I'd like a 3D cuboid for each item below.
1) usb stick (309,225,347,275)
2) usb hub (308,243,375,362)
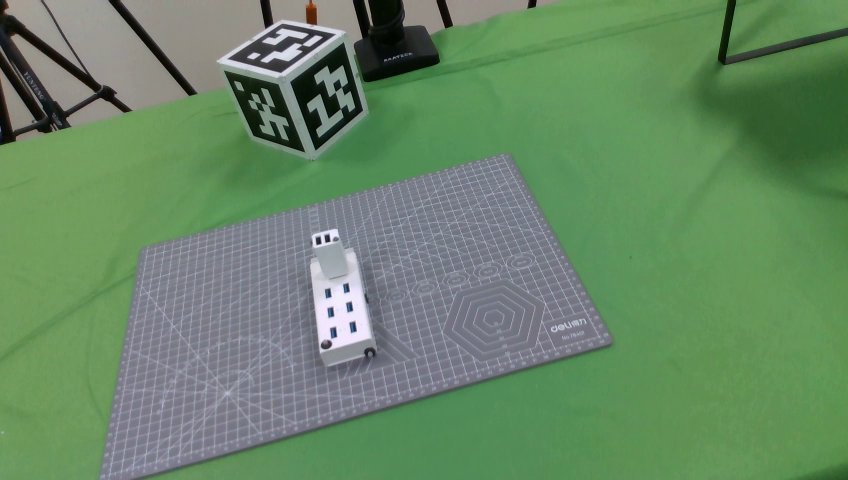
[{"bbox_3d":[-0.091,0.014,0.588,0.027,0.060,0.021,-18,46,-3],"label":"usb stick"},{"bbox_3d":[-0.083,0.057,0.585,0.049,0.025,0.123,-16,44,-2],"label":"usb hub"}]
